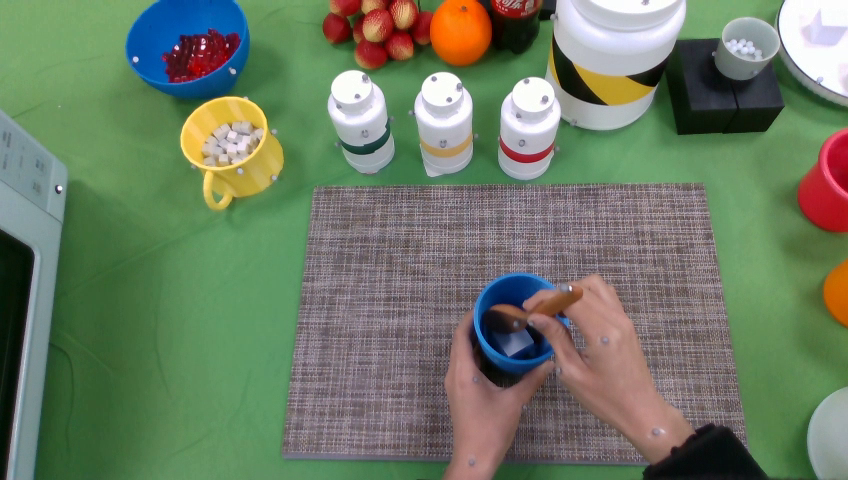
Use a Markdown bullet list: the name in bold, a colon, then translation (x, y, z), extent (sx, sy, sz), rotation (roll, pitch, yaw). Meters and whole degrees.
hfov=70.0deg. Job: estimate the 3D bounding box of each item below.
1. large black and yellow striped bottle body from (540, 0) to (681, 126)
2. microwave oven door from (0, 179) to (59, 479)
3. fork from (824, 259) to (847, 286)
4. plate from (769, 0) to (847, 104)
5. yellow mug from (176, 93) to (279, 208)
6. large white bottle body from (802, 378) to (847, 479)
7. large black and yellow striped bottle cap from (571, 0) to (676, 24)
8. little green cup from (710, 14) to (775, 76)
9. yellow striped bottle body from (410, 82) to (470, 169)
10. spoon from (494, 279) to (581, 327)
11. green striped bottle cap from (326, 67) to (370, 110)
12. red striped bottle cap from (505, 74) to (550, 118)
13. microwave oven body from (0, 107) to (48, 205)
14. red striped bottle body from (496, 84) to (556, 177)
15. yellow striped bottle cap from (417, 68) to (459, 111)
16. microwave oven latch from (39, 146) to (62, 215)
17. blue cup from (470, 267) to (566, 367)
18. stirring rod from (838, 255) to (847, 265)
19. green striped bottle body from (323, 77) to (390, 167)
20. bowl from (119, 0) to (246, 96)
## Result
- **large black and yellow striped bottle body**: translation (0.201, -0.228, 0.667), extent (0.131, 0.185, 0.130), rotation (-2, 66, 4)
- **microwave oven door**: translation (-0.422, 0.090, 0.524), extent (0.039, 0.245, 0.353), rotation (-9, 66, 1)
- **fork**: translation (0.470, 0.053, 0.546), extent (0.028, 0.019, 0.205), rotation (-34, 24, -15)
- **plate**: translation (0.521, -0.244, 0.731), extent (0.209, 0.038, 0.207), rotation (-1, 67, 4)
- **yellow mug**: translation (-0.232, -0.099, 0.707), extent (0.100, 0.064, 0.130), rotation (9, 68, 7)
- **large white bottle body**: translation (0.413, 0.158, 0.485), extent (0.130, 0.186, 0.129), rotation (-2, 66, 4)
- **large black and yellow striped bottle cap**: translation (0.194, -0.261, 0.590), extent (0.115, 0.019, 0.114), rotation (-2, 65, 4)
- **little green cup**: translation (0.352, -0.215, 0.675), extent (0.061, 0.039, 0.061), rotation (-1, 65, 2)
- **yellow striped bottle body**: translation (0.019, -0.135, 0.675), extent (0.063, 0.121, 0.062), rotation (-2, 66, 5)
- **spoon**: translation (0.088, 0.056, 0.498), extent (0.042, 0.194, 0.021), rotation (25, 76, -3)
- **green striped bottle cap**: translation (-0.080, -0.159, 0.636), extent (0.044, 0.020, 0.044), rotation (-1, 65, 3)
- **red striped bottle cap**: translation (0.106, -0.148, 0.617), extent (0.044, 0.018, 0.044), rotation (0, 65, 0)
- **microwave oven body**: translation (-0.571, 0.077, 0.546), extent (0.326, 0.262, 0.438), rotation (-9, 67, 0)
- **red striped bottle body**: translation (0.112, -0.126, 0.665), extent (0.063, 0.121, 0.062), rotation (-3, 64, 7)
- **yellow striped bottle cap**: translation (0.015, -0.156, 0.628), extent (0.044, 0.019, 0.044), rotation (-1, 68, 3)
- **microwave oven latch**: translation (-0.443, -0.067, 0.704), extent (0.030, 0.030, 0.078), rotation (-7, 67, 1)
- **blue cup**: translation (0.088, 0.083, 0.585), extent (0.092, 0.101, 0.092), rotation (-2, 68, 5)
- **stirring rod**: translation (0.442, 0.052, 0.554), extent (0.014, 0.006, 0.175), rotation (-7, 24, 1)
- **green striped bottle body**: translation (-0.075, -0.138, 0.684), extent (0.063, 0.120, 0.062), rotation (-1, 66, 4)
- **bowl**: translation (-0.289, -0.236, 0.763), extent (0.151, 0.077, 0.150), rotation (-1, 67, 3)
